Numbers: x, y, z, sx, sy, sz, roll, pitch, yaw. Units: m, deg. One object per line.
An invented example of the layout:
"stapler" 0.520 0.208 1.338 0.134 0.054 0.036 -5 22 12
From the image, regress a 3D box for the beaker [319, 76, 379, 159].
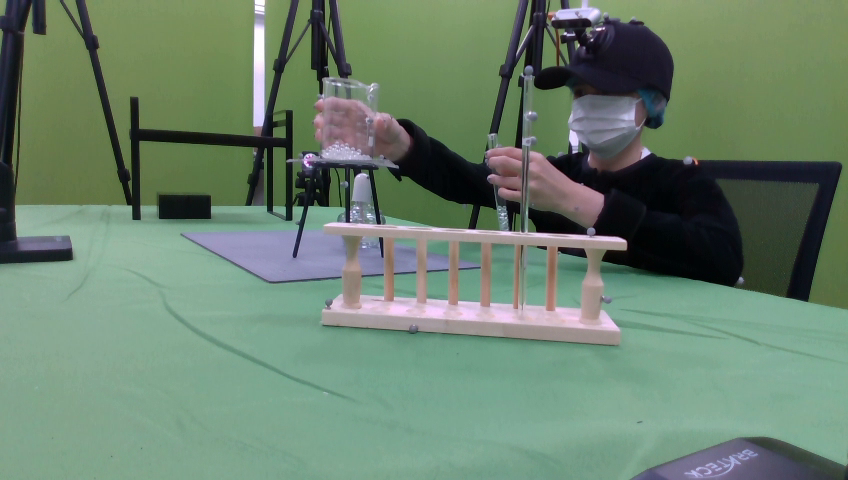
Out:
"beaker" -0.096 -0.155 0.777 0.074 0.100 0.083 -3 12 -38

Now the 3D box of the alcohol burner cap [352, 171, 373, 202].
"alcohol burner cap" -0.096 -0.084 0.951 0.034 0.048 0.034 5 6 0

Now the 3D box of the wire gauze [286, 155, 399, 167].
"wire gauze" -0.101 -0.105 0.788 0.121 0.011 0.125 4 6 6

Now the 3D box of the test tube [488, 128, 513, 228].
"test tube" 0.111 -0.086 0.875 0.017 0.150 0.017 -10 8 2

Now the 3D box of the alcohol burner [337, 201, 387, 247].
"alcohol burner" -0.098 -0.049 0.954 0.078 0.119 0.078 0 6 0

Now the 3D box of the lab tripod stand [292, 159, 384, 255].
"lab tripod stand" -0.105 -0.039 0.797 0.148 0.131 0.148 2 5 0

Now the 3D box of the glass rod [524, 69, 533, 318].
"glass rod" 0.082 -0.031 0.473 0.008 0.199 0.008 -2 14 1

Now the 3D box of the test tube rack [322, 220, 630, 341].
"test tube rack" 0.041 0.029 0.512 0.242 0.085 0.067 3 7 5
